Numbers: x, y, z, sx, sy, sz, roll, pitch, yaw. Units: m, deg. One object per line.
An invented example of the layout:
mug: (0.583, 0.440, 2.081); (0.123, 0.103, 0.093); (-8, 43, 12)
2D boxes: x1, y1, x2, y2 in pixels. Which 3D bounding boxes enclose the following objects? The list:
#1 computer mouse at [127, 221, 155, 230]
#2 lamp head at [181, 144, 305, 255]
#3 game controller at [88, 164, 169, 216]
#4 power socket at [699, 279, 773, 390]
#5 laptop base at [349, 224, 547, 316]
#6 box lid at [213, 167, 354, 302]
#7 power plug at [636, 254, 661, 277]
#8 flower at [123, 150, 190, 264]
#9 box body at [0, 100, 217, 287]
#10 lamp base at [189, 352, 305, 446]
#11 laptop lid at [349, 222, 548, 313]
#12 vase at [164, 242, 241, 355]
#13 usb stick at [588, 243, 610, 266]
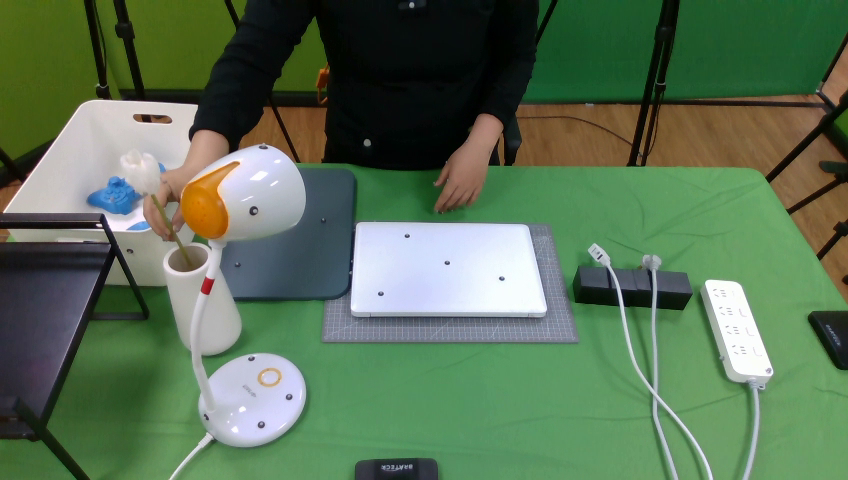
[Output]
computer mouse: (-0.537, 0.009, 1.127); (0.062, 0.041, 0.117); (31, 55, 21)
lamp head: (-0.216, -0.043, 0.696); (0.112, 0.113, 0.123); (23, 30, 17)
game controller: (-0.598, -0.112, 1.234); (0.097, 0.052, 0.155); (28, 52, 20)
power socket: (0.552, 0.158, 1.080); (0.072, 0.033, 0.225); (4, 47, 1)
laptop base: (0.041, 0.055, 1.148); (0.355, 0.023, 0.234); (1, 42, -4)
box lid: (-0.276, -0.023, 1.205); (0.263, 0.015, 0.369); (0, 46, -4)
power plug: (0.415, 0.051, 1.139); (0.035, 0.053, 0.072); (46, 49, 10)
flower: (-0.358, 0.014, 0.898); (0.044, 0.363, 0.038); (-2, 49, -1)
box body: (-0.560, -0.092, 1.144); (0.254, 0.161, 0.361); (3, 46, -2)
lamp base: (-0.267, 0.197, 0.876); (0.160, 0.181, 0.179); (26, 52, 19)
laptop lid: (0.041, 0.046, 1.142); (0.357, 0.013, 0.240); (2, 43, -3)
vase: (-0.349, 0.096, 0.953); (0.098, 0.201, 0.097); (3, 47, -3)
usb stick: (0.336, 0.025, 1.171); (0.027, 0.021, 0.059); (35, 17, -13)
